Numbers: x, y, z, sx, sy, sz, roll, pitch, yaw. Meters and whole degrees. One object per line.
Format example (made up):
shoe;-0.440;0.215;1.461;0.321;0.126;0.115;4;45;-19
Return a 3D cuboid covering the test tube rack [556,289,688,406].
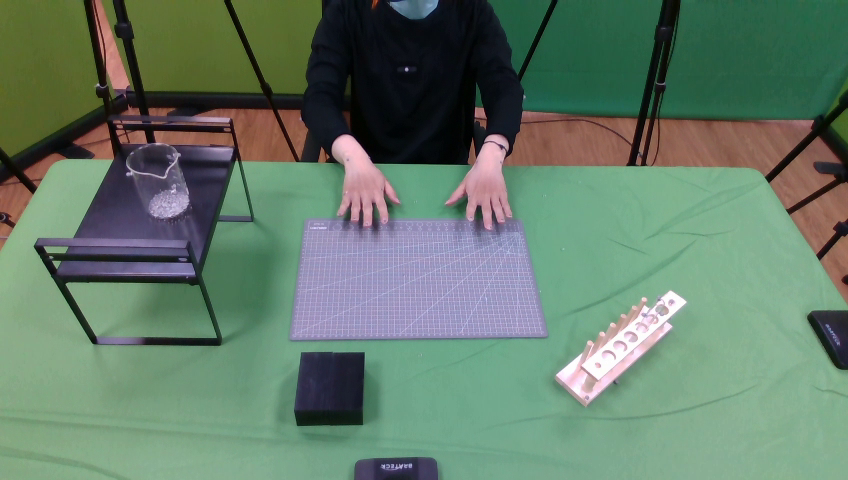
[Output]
test tube rack;0.332;0.166;1.014;0.242;0.085;0.066;-30;55;-28

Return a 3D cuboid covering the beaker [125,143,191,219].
beaker;-0.409;-0.088;0.946;0.074;0.101;0.083;-28;54;-26

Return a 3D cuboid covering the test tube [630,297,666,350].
test tube;0.354;0.137;0.973;0.017;0.151;0.017;2;52;-2
